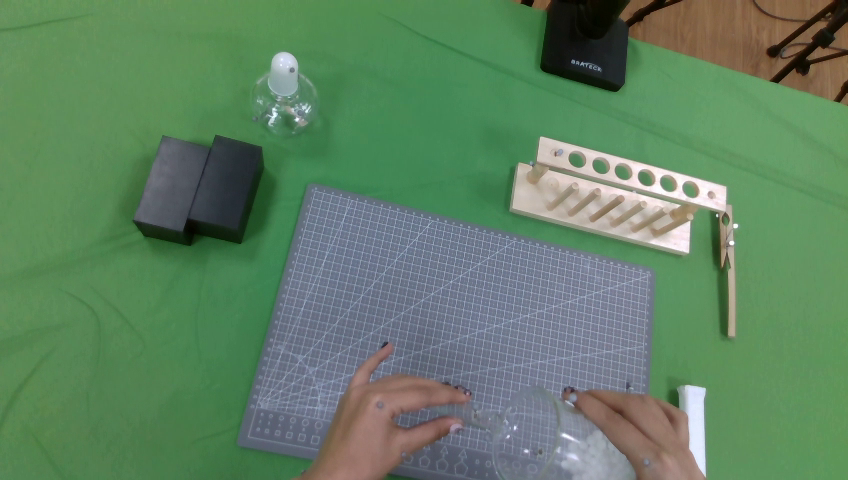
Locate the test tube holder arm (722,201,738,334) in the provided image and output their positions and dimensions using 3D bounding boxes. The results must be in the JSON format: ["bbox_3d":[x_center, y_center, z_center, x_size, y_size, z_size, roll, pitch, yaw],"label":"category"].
[{"bbox_3d":[0.401,0.034,0.796,0.013,0.015,0.177,-5,71,24],"label":"test tube holder arm"}]

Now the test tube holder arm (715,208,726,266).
[{"bbox_3d":[0.399,-0.009,0.812,0.010,0.015,0.087,-4,71,24],"label":"test tube holder arm"}]

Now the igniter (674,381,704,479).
[{"bbox_3d":[0.304,0.301,0.691,0.057,0.025,0.275,14,70,-19],"label":"igniter"}]

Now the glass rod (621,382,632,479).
[{"bbox_3d":[0.228,0.262,0.692,0.008,0.008,0.198,13,71,-9],"label":"glass rod"}]

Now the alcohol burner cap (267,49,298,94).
[{"bbox_3d":[-0.151,-0.184,0.651,0.034,0.048,0.033,8,66,-17],"label":"alcohol burner cap"}]

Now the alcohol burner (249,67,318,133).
[{"bbox_3d":[-0.159,-0.172,0.684,0.078,0.119,0.077,4,70,-10],"label":"alcohol burner"}]

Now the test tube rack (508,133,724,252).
[{"bbox_3d":[0.237,-0.055,0.753,0.243,0.085,0.066,14,71,-8],"label":"test tube rack"}]

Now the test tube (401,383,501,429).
[{"bbox_3d":[0.019,0.147,0.545,0.017,0.149,0.017,2,86,-31],"label":"test tube"}]

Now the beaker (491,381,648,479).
[{"bbox_3d":[0.112,0.160,0.465,0.101,0.083,0.073,27,76,-22],"label":"beaker"}]
